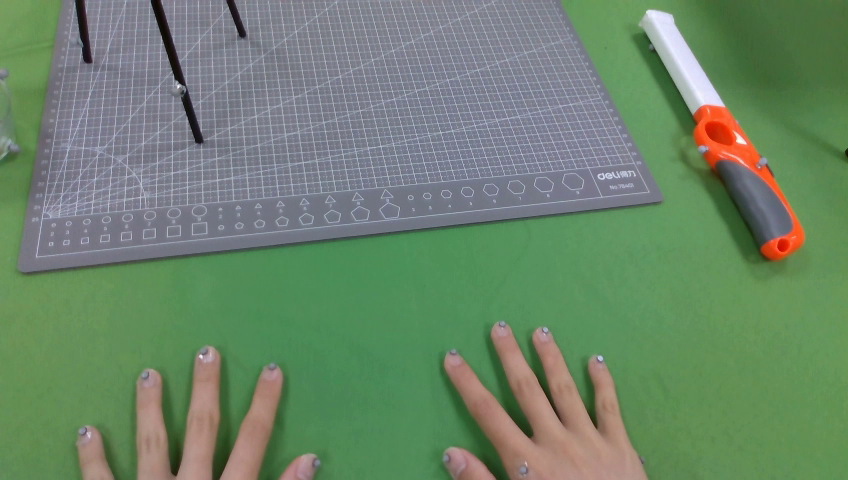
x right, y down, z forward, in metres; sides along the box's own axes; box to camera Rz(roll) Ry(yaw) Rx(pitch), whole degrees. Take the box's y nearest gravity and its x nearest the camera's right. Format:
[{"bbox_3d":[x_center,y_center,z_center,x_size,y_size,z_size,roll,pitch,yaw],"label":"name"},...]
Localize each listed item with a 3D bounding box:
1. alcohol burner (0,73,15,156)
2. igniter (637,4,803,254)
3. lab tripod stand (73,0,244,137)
[{"bbox_3d":[-0.311,-0.100,0.378,0.078,0.120,0.077,5,54,-6],"label":"alcohol burner"},{"bbox_3d":[0.243,-0.105,0.512,0.057,0.025,0.273,1,56,-20],"label":"igniter"},{"bbox_3d":[-0.186,-0.167,0.425,0.149,0.132,0.147,5,56,-7],"label":"lab tripod stand"}]
